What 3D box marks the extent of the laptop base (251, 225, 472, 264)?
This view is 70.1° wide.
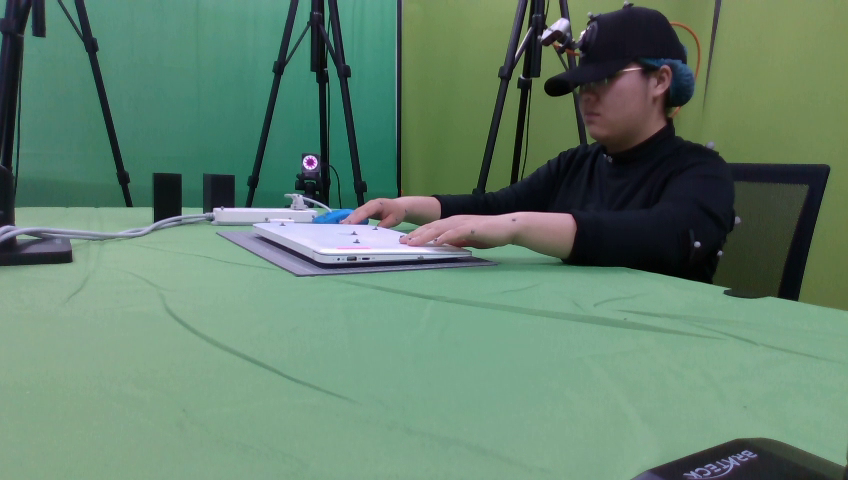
[{"bbox_3d":[-0.115,0.007,0.955,0.237,0.023,0.352,2,6,-31],"label":"laptop base"}]

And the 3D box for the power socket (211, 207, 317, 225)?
[{"bbox_3d":[-0.334,-0.051,1.282,0.228,0.032,0.072,-1,9,-28],"label":"power socket"}]

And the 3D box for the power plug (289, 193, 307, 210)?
[{"bbox_3d":[-0.281,-0.076,1.340,0.035,0.052,0.072,4,5,-18],"label":"power plug"}]

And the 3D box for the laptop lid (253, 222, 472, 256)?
[{"bbox_3d":[-0.113,-0.005,0.955,0.243,0.013,0.355,1,7,-29],"label":"laptop lid"}]

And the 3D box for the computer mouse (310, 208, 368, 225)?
[{"bbox_3d":[-0.179,-0.044,1.274,0.118,0.041,0.062,-6,13,-29],"label":"computer mouse"}]

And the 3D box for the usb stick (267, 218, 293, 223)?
[{"bbox_3d":[-0.272,-0.026,1.107,0.059,0.027,0.021,-3,11,-27],"label":"usb stick"}]
